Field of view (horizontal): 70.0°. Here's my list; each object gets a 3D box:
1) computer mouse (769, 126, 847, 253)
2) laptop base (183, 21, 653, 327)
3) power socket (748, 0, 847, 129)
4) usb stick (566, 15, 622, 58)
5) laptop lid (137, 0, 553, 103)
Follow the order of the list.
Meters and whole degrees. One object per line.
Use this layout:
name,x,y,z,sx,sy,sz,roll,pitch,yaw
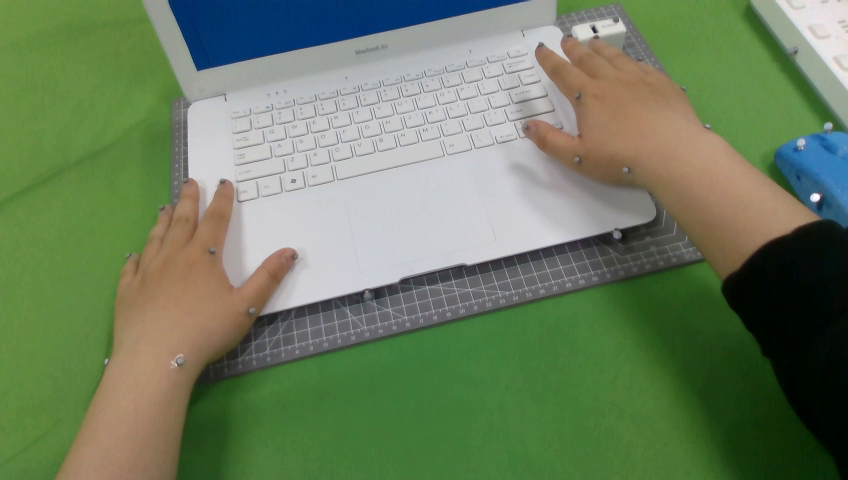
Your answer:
computer mouse,0.314,-0.044,0.448,0.063,0.041,0.116,-14,51,-1
laptop base,-0.021,-0.069,0.508,0.354,0.023,0.233,-14,60,-4
power socket,0.363,-0.172,0.531,0.072,0.033,0.224,-10,57,-1
usb stick,0.147,-0.184,0.553,0.059,0.027,0.021,-14,57,0
laptop lid,-0.064,-0.247,0.490,0.357,0.244,0.013,-15,44,-3
